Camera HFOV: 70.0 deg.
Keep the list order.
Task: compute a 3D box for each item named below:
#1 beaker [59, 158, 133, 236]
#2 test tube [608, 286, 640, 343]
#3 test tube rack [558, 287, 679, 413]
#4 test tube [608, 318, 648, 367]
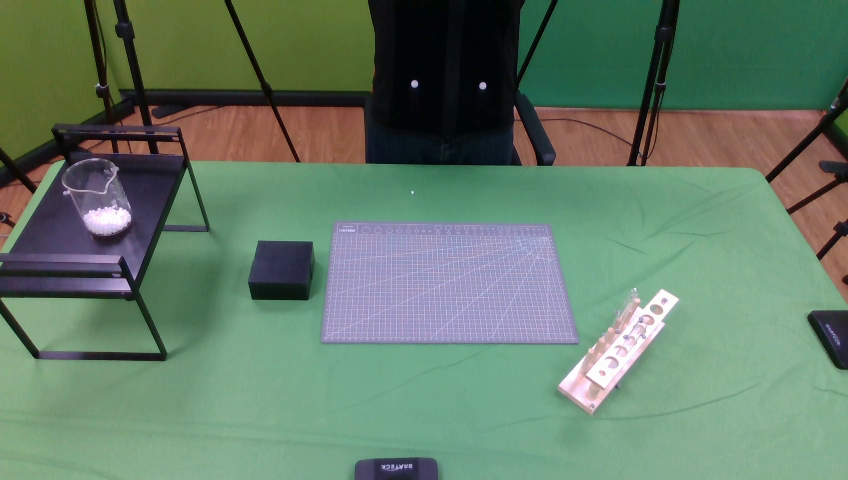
[{"bbox_3d":[-0.488,-0.060,0.915,0.074,0.101,0.083,-35,58,-31],"label":"beaker"},{"bbox_3d":[0.324,0.123,0.992,0.017,0.151,0.017,2,49,-2],"label":"test tube"},{"bbox_3d":[0.326,0.170,1.009,0.066,0.085,0.242,36,54,27],"label":"test tube rack"},{"bbox_3d":[0.311,0.169,0.940,0.017,0.151,0.017,5,48,-5],"label":"test tube"}]
